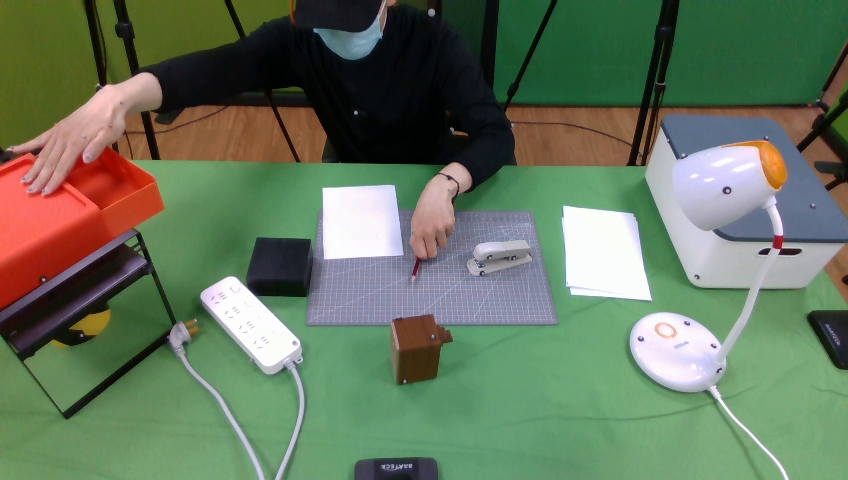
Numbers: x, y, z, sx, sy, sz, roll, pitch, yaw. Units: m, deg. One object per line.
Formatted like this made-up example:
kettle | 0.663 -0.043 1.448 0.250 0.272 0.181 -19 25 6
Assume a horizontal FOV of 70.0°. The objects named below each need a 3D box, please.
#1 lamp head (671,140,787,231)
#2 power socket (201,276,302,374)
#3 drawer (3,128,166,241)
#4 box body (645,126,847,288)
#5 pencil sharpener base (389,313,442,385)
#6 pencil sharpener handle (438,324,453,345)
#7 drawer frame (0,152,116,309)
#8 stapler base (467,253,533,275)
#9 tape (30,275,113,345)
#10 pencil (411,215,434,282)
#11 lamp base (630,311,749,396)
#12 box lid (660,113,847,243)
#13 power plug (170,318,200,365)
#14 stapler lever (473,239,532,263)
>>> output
lamp head | 0.415 -0.078 0.811 0.113 0.123 0.112 13 70 -37
power socket | -0.297 0.141 1.034 0.072 0.033 0.225 -34 58 -30
drawer | -0.547 -0.062 0.929 0.193 0.073 0.211 32 53 23
box body | 0.625 -0.080 1.222 0.254 0.161 0.361 0 46 -3
pencil sharpener base | -0.013 0.175 0.971 0.077 0.107 0.061 -8 47 -11
pencil sharpener handle | 0.036 0.155 0.976 0.031 0.068 0.036 -8 69 -11
drawer frame | -0.604 -0.012 0.875 0.201 0.083 0.213 31 52 23
stapler base | 0.147 0.034 1.172 0.131 0.024 0.041 -12 49 -17
tape | -0.593 0.117 1.021 0.117 0.053 0.116 3 46 -2
pencil | -0.004 0.014 1.181 0.012 0.012 0.193 11 43 6
lamp base | 0.447 0.143 0.983 0.161 0.181 0.178 -24 55 -24
box lid | 0.628 -0.133 1.170 0.263 0.015 0.369 1 46 -3
power plug | -0.392 0.167 1.015 0.052 0.035 0.072 -29 92 -24
stapler lever | 0.150 0.017 1.155 0.118 0.040 0.026 -13 49 -17
